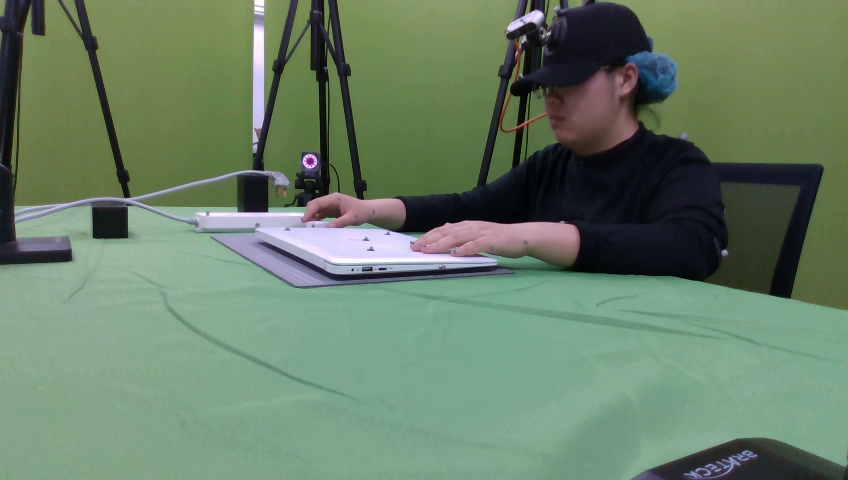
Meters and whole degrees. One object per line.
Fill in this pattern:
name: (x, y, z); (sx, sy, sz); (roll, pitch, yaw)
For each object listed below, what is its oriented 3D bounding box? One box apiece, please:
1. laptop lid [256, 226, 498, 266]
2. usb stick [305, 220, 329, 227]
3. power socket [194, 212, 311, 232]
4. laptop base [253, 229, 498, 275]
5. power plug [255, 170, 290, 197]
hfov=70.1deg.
laptop lid: (-0.085, 0.004, 0.878); (0.243, 0.013, 0.355); (1, 7, -29)
usb stick: (-0.194, -0.020, 1.075); (0.021, 0.027, 0.059); (-1, 10, 23)
power socket: (-0.322, -0.037, 1.153); (0.228, 0.032, 0.072); (-2, 8, -34)
laptop base: (-0.088, 0.016, 0.878); (0.237, 0.023, 0.352); (3, 6, -31)
power plug: (-0.323, -0.119, 1.285); (0.073, 0.052, 0.035); (2, -13, -13)
